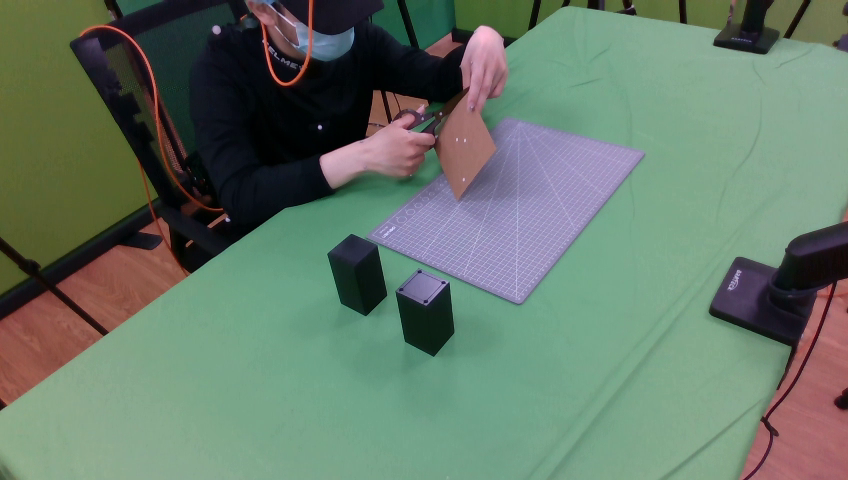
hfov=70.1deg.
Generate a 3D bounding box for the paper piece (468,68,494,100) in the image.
[{"bbox_3d":[0.074,-0.248,1.122,0.008,0.135,0.138,40,40,-1],"label":"paper piece"}]

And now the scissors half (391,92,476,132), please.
[{"bbox_3d":[0.014,-0.229,1.061,0.174,0.040,0.013,-14,43,30],"label":"scissors half"}]

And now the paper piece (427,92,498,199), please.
[{"bbox_3d":[0.061,-0.162,1.033,0.004,0.135,0.135,-1,56,-37],"label":"paper piece"}]

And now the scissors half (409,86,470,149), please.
[{"bbox_3d":[0.029,-0.215,1.070,0.040,0.174,0.013,32,47,-14],"label":"scissors half"}]
